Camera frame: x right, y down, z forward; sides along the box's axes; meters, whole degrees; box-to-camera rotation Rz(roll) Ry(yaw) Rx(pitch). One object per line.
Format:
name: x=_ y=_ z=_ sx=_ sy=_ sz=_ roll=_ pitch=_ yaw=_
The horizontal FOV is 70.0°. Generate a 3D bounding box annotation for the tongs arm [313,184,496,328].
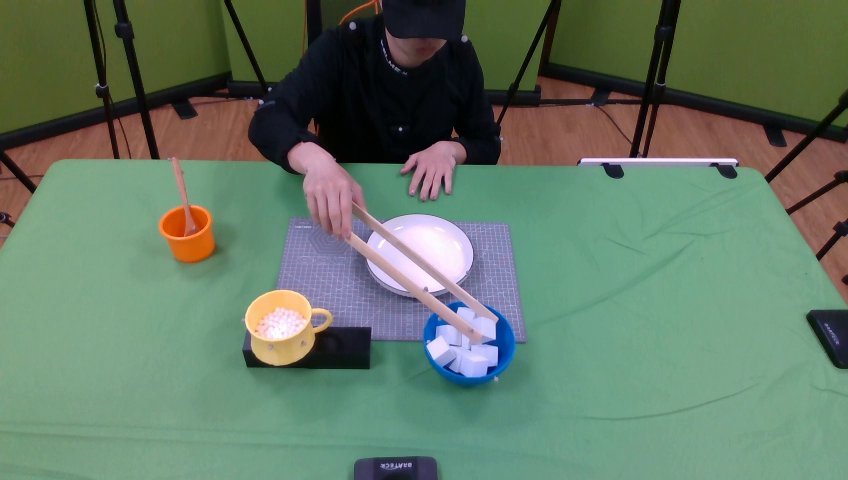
tongs arm: x=-0.037 y=0.021 z=1.013 sx=0.386 sy=0.028 sz=0.028 roll=38 pitch=51 yaw=14

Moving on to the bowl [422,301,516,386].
bowl: x=0.069 y=0.181 z=0.990 sx=0.151 sy=0.077 sz=0.150 roll=2 pitch=46 yaw=-2

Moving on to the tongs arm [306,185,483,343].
tongs arm: x=-0.053 y=0.034 z=0.995 sx=0.384 sy=0.026 sz=0.050 roll=36 pitch=47 yaw=12

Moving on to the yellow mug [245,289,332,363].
yellow mug: x=-0.211 y=0.132 z=0.954 sx=0.131 sy=0.064 sz=0.099 roll=-9 pitch=48 yaw=-14

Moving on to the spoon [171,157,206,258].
spoon: x=-0.444 y=-0.061 z=1.133 sx=0.042 sy=0.194 sz=0.021 roll=-12 pitch=4 yaw=-19

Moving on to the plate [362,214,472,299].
plate: x=-0.014 y=0.034 z=1.150 sx=0.208 sy=0.039 sz=0.206 roll=2 pitch=46 yaw=-2
